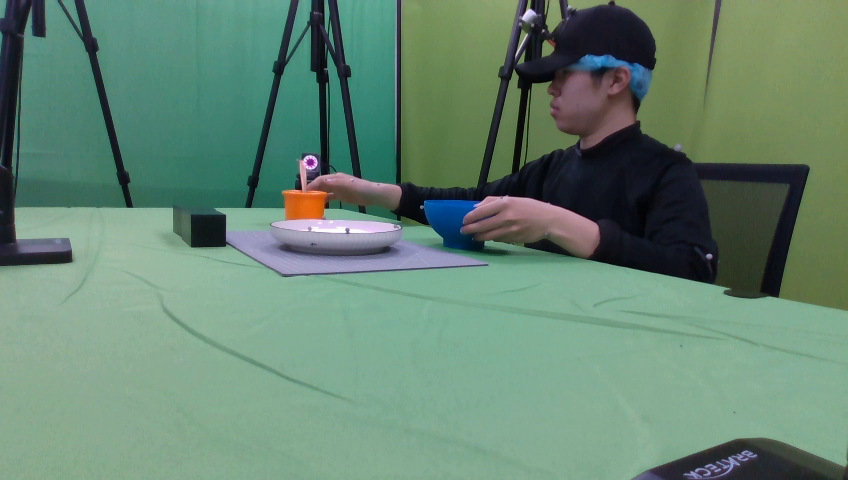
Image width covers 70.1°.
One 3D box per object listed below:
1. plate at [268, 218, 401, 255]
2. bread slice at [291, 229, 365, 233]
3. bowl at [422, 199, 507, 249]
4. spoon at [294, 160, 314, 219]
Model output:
[{"bbox_3d":[-0.140,-0.006,0.958,0.209,0.038,0.209,3,7,0],"label":"plate"},{"bbox_3d":[-0.143,-0.003,0.953,0.135,0.018,0.106,-1,8,-37],"label":"bread slice"},{"bbox_3d":[0.070,-0.028,1.065,0.151,0.077,0.151,3,7,0],"label":"bowl"},{"bbox_3d":[-0.253,-0.103,1.270,0.042,0.193,0.021,4,-38,-17],"label":"spoon"}]
